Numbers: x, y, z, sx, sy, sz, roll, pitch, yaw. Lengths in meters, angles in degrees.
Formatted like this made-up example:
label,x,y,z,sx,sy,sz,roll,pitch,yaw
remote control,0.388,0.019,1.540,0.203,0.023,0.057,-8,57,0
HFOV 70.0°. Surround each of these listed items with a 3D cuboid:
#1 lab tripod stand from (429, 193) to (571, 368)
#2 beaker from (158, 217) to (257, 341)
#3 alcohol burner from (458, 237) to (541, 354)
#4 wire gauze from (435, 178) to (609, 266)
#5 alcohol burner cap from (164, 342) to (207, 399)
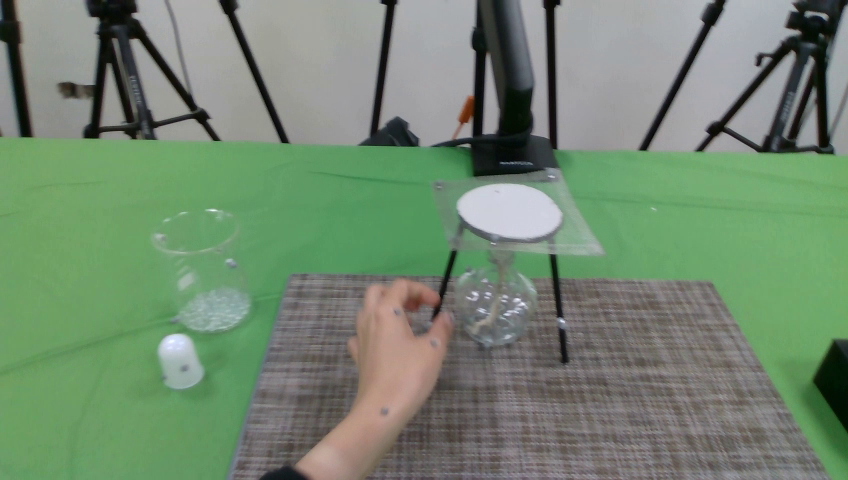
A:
label,x,y,z,sx,sy,sz,roll,pitch,yaw
lab tripod stand,0.079,0.036,0.549,0.148,0.132,0.147,3,34,-1
beaker,-0.199,0.038,0.573,0.074,0.101,0.083,10,35,11
alcohol burner,0.071,0.045,0.551,0.078,0.120,0.077,2,36,-1
wire gauze,0.077,-0.017,0.506,0.125,0.011,0.120,-1,35,-5
alcohol burner cap,-0.206,0.109,0.519,0.034,0.048,0.033,2,35,-1
